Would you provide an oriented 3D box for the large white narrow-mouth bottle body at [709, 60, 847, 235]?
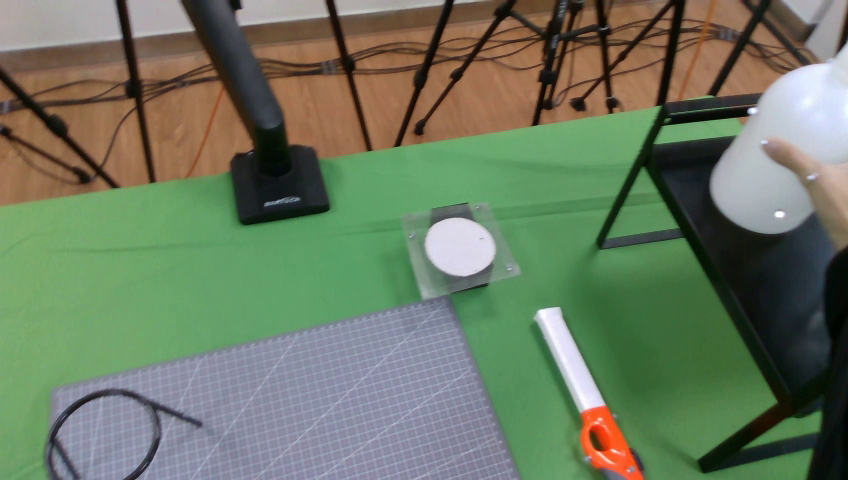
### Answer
[{"bbox_3d":[0.351,-0.096,0.559,0.102,0.196,0.101,2,55,-3],"label":"large white narrow-mouth bottle body"}]

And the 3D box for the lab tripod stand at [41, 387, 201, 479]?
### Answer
[{"bbox_3d":[-0.264,0.202,0.544,0.148,0.132,0.147,4,54,-5],"label":"lab tripod stand"}]

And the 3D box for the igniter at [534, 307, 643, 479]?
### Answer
[{"bbox_3d":[0.185,0.195,0.661,0.057,0.025,0.273,-5,54,-22],"label":"igniter"}]

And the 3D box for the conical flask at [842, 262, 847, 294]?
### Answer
[{"bbox_3d":[0.440,0.015,0.534,0.075,0.123,0.074,3,54,-3],"label":"conical flask"}]

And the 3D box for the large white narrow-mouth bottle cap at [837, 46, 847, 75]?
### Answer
[{"bbox_3d":[0.357,-0.148,0.487,0.038,0.024,0.037,2,55,-3],"label":"large white narrow-mouth bottle cap"}]

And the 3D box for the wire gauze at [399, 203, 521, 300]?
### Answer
[{"bbox_3d":[0.041,0.008,0.734,0.122,0.011,0.124,-10,57,-12],"label":"wire gauze"}]
